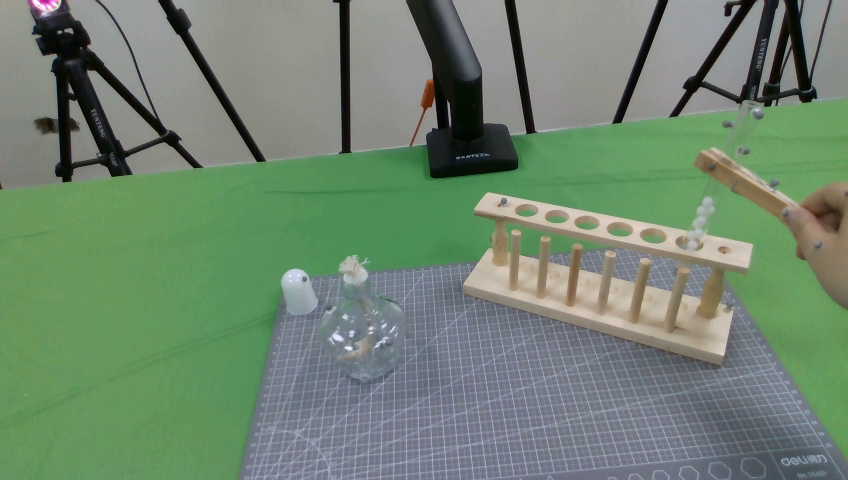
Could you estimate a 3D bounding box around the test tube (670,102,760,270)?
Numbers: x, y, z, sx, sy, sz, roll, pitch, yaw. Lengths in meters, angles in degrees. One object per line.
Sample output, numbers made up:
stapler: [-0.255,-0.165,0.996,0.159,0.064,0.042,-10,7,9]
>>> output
test tube: [0.231,-0.038,0.489,0.017,0.151,0.017,7,32,-4]

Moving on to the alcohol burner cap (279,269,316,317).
alcohol burner cap: [-0.130,0.051,0.612,0.034,0.048,0.033,-3,38,2]

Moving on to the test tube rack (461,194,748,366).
test tube rack: [0.155,0.030,0.562,0.241,0.086,0.066,14,41,25]

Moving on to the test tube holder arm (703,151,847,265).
test tube holder arm: [0.276,-0.013,0.444,0.013,0.015,0.176,-21,51,-30]

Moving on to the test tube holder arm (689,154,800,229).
test tube holder arm: [0.245,-0.038,0.464,0.010,0.015,0.087,-27,54,-35]

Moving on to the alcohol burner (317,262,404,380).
alcohol burner: [-0.057,0.065,0.523,0.078,0.120,0.077,-3,38,2]
